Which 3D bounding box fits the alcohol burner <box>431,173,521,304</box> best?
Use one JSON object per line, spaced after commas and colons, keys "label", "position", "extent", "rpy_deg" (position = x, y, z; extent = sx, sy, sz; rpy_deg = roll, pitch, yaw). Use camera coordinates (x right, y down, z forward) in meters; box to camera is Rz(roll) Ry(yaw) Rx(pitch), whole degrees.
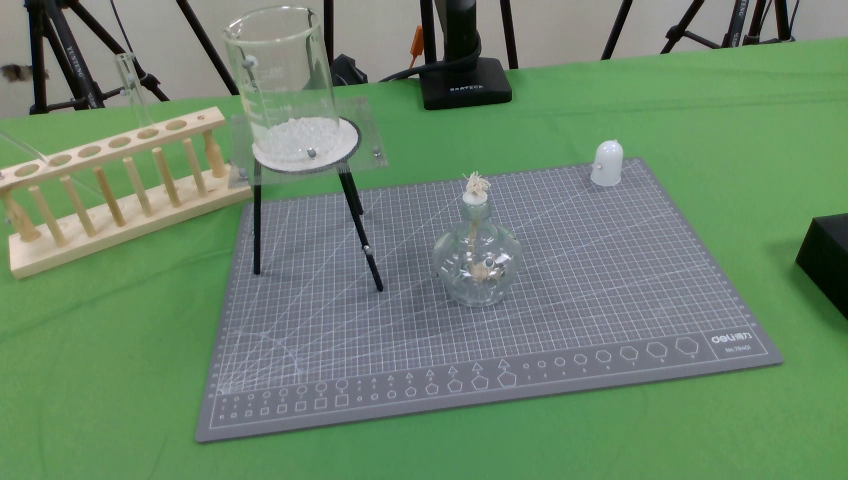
{"label": "alcohol burner", "position": [0.044, -0.004, 0.511], "extent": [0.078, 0.120, 0.077], "rpy_deg": [-3, 39, 3]}

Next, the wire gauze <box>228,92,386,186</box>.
{"label": "wire gauze", "position": [-0.101, -0.085, 0.504], "extent": [0.125, 0.011, 0.120], "rpy_deg": [-13, 39, -5]}

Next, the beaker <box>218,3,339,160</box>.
{"label": "beaker", "position": [-0.110, -0.121, 0.471], "extent": [0.083, 0.101, 0.073], "rpy_deg": [13, 43, 22]}

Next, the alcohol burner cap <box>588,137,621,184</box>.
{"label": "alcohol burner cap", "position": [0.195, -0.088, 0.650], "extent": [0.034, 0.048, 0.033], "rpy_deg": [-2, 40, 3]}

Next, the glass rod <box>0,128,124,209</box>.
{"label": "glass rod", "position": [-0.377, -0.083, 0.584], "extent": [0.008, 0.202, 0.008], "rpy_deg": [-18, 51, 24]}

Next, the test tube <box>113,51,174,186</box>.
{"label": "test tube", "position": [-0.289, -0.121, 0.630], "extent": [0.017, 0.151, 0.017], "rpy_deg": [-2, 38, 2]}

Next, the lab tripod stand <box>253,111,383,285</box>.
{"label": "lab tripod stand", "position": [-0.096, -0.036, 0.547], "extent": [0.148, 0.133, 0.147], "rpy_deg": [-3, 42, 3]}

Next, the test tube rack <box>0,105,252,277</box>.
{"label": "test tube rack", "position": [-0.316, -0.056, 0.633], "extent": [0.243, 0.086, 0.066], "rpy_deg": [-23, 44, -20]}
